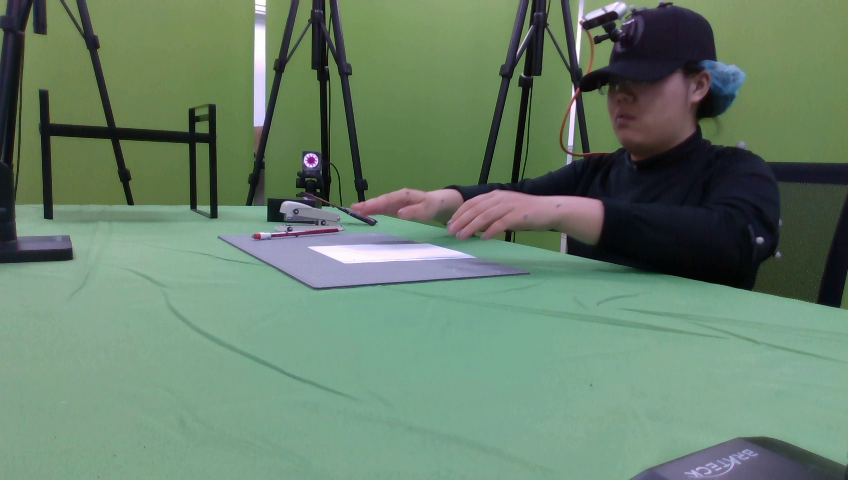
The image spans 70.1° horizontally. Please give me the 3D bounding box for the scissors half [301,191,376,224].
[{"bbox_3d":[-0.189,-0.073,1.334,0.175,0.013,0.040,22,12,-10],"label":"scissors half"}]

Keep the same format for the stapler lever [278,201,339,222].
[{"bbox_3d":[-0.223,-0.055,1.170,0.119,0.040,0.026,-1,11,-34],"label":"stapler lever"}]

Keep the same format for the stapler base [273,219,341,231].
[{"bbox_3d":[-0.225,-0.031,1.172,0.131,0.024,0.041,0,10,-34],"label":"stapler base"}]

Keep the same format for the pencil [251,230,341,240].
[{"bbox_3d":[-0.215,-0.011,1.049,0.012,0.012,0.195,9,9,39],"label":"pencil"}]

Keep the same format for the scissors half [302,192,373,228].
[{"bbox_3d":[-0.191,-0.068,1.314,0.175,0.013,0.040,26,17,7],"label":"scissors half"}]
